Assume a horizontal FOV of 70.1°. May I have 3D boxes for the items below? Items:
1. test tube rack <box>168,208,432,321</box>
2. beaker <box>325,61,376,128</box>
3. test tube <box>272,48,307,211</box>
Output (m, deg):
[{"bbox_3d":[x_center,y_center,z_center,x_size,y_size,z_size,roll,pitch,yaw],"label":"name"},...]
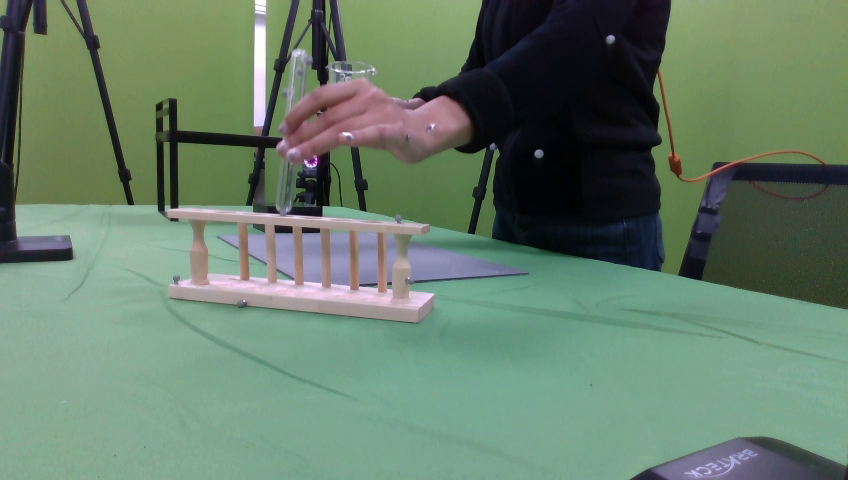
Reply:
[{"bbox_3d":[-0.116,0.018,0.574,0.242,0.085,0.067,4,8,13],"label":"test tube rack"},{"bbox_3d":[-0.123,-0.240,1.008,0.084,0.100,0.074,0,5,-6],"label":"beaker"},{"bbox_3d":[-0.125,-0.101,0.559,0.017,0.150,0.017,7,2,0],"label":"test tube"}]
